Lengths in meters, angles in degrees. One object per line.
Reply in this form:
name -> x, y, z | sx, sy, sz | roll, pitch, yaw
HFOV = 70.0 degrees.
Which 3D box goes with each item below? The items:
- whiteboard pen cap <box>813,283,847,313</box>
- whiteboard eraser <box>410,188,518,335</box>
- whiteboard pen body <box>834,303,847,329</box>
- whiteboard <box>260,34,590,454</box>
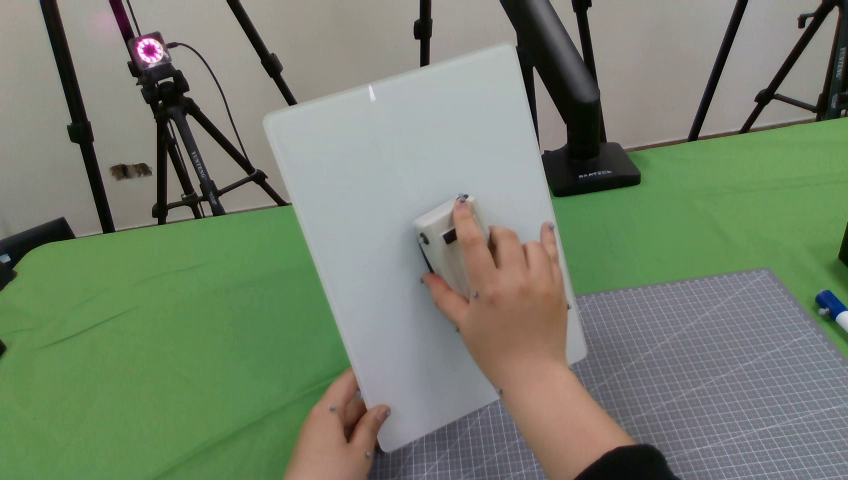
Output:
whiteboard pen cap -> 0.392, 0.057, 0.581 | 0.018, 0.018, 0.033 | -10, 33, 1
whiteboard eraser -> 0.033, 0.018, 0.501 | 0.055, 0.113, 0.041 | -28, 19, -14
whiteboard pen body -> 0.396, 0.090, 0.534 | 0.017, 0.017, 0.139 | -10, 34, 2
whiteboard -> -0.002, -0.004, 0.573 | 0.217, 0.307, 0.143 | -21, 16, -14
